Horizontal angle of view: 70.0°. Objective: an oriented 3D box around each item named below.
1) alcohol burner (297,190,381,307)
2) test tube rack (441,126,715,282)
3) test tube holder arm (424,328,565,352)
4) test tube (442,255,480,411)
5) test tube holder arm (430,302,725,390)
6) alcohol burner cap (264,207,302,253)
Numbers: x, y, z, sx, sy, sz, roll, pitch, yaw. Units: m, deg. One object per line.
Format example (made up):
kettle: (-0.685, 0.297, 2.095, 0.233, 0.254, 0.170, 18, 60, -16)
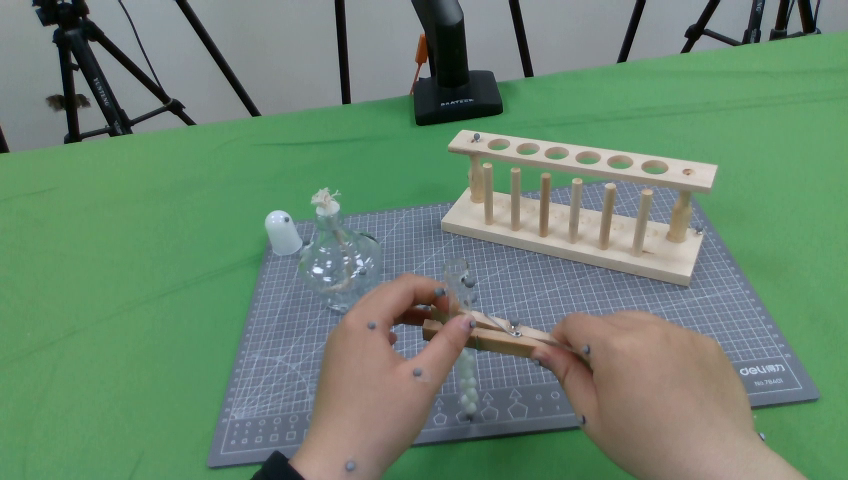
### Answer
alcohol burner: (-0.079, 0.003, 0.543, 0.078, 0.120, 0.077, -5, 41, 4)
test tube rack: (0.133, -0.040, 0.573, 0.241, 0.086, 0.066, 14, 45, 26)
test tube holder arm: (0.044, 0.063, 0.381, 0.087, 0.015, 0.010, -1, 53, 11)
test tube: (0.026, 0.068, 0.401, 0.017, 0.152, 0.017, -4, 42, 4)
test tube holder arm: (0.088, 0.063, 0.372, 0.177, 0.015, 0.013, 10, 57, 18)
alcohol burner cap: (-0.150, -0.013, 0.634, 0.034, 0.048, 0.033, -5, 40, 4)
